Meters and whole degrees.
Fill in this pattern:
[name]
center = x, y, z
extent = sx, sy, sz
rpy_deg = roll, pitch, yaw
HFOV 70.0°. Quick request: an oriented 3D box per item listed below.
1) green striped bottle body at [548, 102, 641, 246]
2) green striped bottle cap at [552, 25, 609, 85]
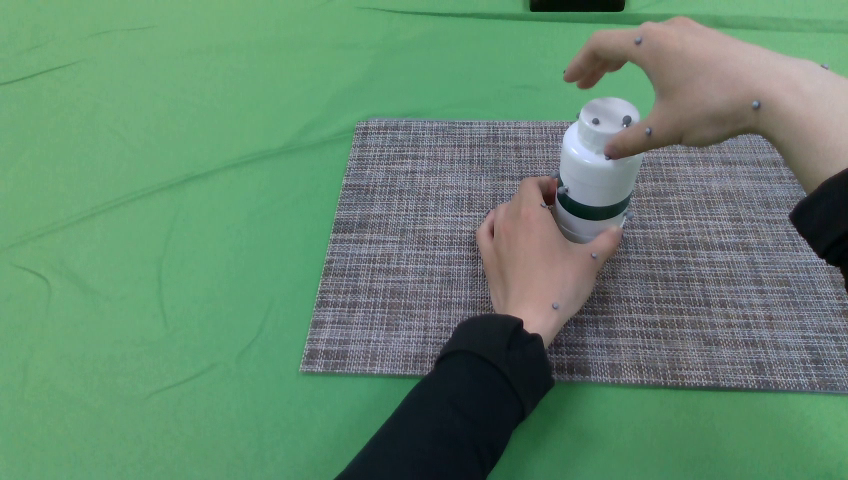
[green striped bottle body]
center = 0.140, -0.055, 0.500
extent = 0.063, 0.120, 0.062
rpy_deg = -2, 50, 2
[green striped bottle cap]
center = 0.119, -0.140, 0.462
extent = 0.020, 0.044, 0.044
rpy_deg = 45, 62, 3
